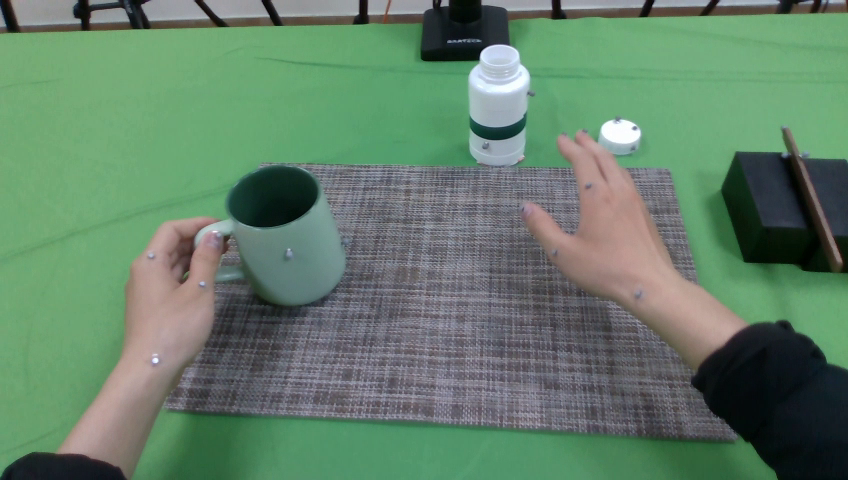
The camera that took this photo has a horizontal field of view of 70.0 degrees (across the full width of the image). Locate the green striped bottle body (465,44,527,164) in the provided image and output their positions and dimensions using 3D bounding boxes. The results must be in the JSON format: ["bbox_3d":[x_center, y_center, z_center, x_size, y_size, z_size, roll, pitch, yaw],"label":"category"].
[{"bbox_3d":[0.076,-0.144,0.643,0.063,0.120,0.062,-2,49,3],"label":"green striped bottle body"}]

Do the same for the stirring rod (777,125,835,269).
[{"bbox_3d":[0.339,-0.044,0.541,0.006,0.014,0.174,2,49,11],"label":"stirring rod"}]

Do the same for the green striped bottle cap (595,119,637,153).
[{"bbox_3d":[0.215,-0.116,0.678,0.044,0.020,0.044,0,45,1],"label":"green striped bottle cap"}]

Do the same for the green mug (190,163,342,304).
[{"bbox_3d":[-0.140,0.001,0.534,0.125,0.106,0.091,-19,50,-12],"label":"green mug"}]
